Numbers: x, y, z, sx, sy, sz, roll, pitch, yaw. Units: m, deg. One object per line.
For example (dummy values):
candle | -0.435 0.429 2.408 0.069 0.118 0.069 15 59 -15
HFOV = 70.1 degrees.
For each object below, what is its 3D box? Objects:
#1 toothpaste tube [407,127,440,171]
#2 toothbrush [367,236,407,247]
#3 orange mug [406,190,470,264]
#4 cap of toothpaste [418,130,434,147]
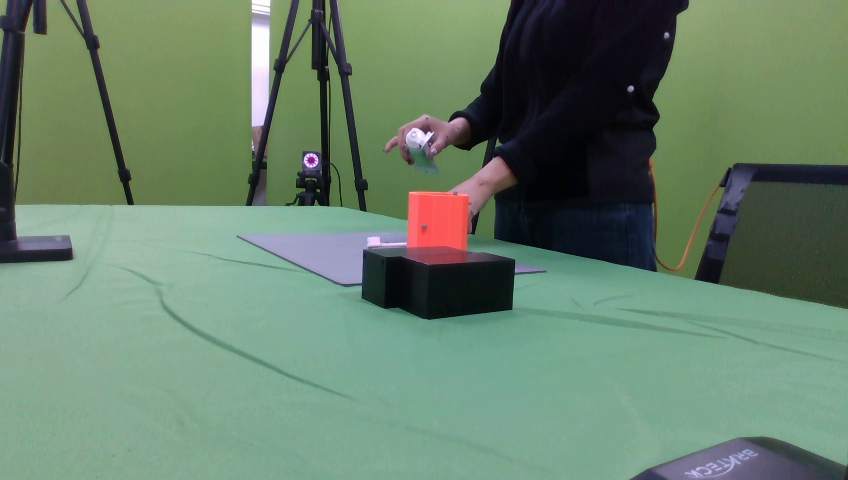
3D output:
toothpaste tube | -0.004 -0.161 1.100 0.055 0.034 0.165 16 -12 11
toothbrush | -0.008 0.002 0.974 0.183 0.016 0.014 -1 -17 -30
orange mug | 0.027 -0.023 0.866 0.083 0.101 0.126 6 12 24
cap of toothpaste | 0.002 -0.171 1.011 0.011 0.037 0.037 42 4 -5
